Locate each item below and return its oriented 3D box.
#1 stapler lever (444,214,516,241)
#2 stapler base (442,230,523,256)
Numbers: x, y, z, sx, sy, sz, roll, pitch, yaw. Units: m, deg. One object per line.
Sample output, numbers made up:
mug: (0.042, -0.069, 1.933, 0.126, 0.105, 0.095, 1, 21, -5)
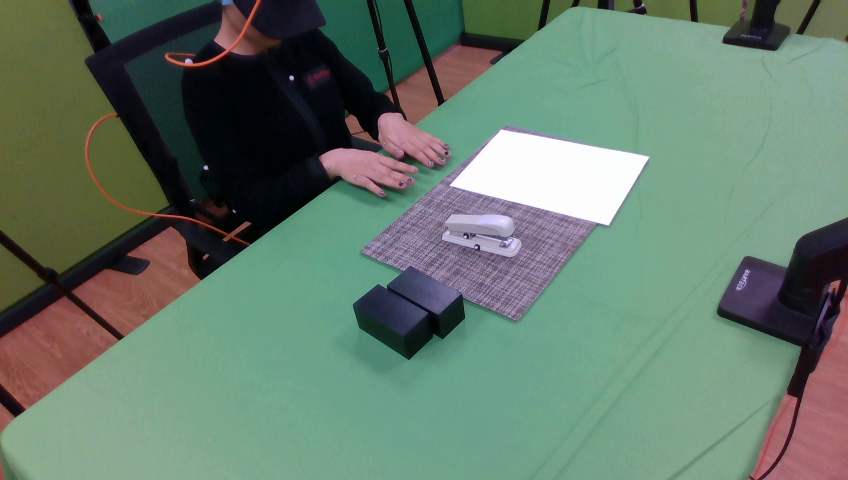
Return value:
stapler lever: (0.088, -0.026, 0.952, 0.117, 0.040, 0.027, 13, 42, 27)
stapler base: (0.093, -0.007, 0.967, 0.129, 0.024, 0.041, 13, 42, 27)
